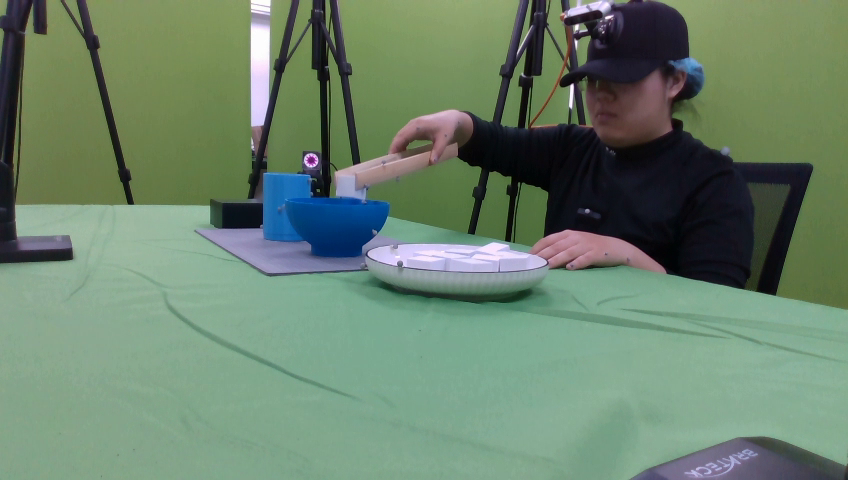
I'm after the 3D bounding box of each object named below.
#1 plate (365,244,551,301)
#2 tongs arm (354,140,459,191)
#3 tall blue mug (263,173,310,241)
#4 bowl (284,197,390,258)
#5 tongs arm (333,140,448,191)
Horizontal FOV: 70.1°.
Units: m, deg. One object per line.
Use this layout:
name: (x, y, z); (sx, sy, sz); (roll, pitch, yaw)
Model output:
plate: (0.038, 0.035, 0.685); (0.209, 0.038, 0.209); (2, 7, 0)
tongs arm: (-0.023, -0.131, 1.014); (0.050, 0.026, 0.386); (4, 17, 29)
tall blue mug: (-0.233, -0.058, 1.019); (0.078, 0.108, 0.107); (-1, 8, -19)
bowl: (-0.125, -0.018, 0.870); (0.151, 0.077, 0.151); (3, 7, 0)
tongs arm: (-0.044, -0.133, 1.024); (0.028, 0.028, 0.389); (-1, 15, 26)
